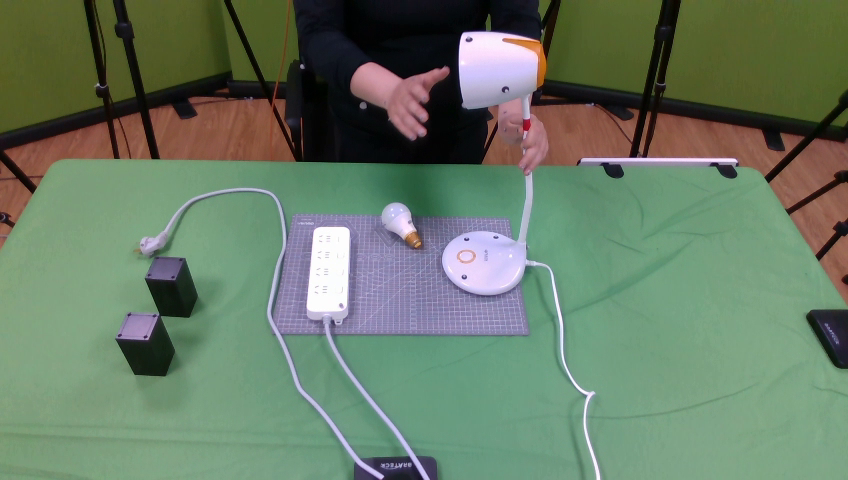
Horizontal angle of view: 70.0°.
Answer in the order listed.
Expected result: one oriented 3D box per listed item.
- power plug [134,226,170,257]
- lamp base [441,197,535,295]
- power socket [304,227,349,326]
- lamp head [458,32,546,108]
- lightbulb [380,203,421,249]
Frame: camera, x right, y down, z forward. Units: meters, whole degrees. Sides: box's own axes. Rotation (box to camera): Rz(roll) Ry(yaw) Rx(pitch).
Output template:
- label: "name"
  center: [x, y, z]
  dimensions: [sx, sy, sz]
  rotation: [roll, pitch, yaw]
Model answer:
- label: "power plug"
  center: [-0.515, 0.005, 1.152]
  dimensions: [0.052, 0.035, 0.072]
  rotation: [-5, 24, 7]
- label: "lamp base"
  center: [0.129, -0.012, 1.105]
  dimensions: [0.179, 0.181, 0.159]
  rotation: [-1, 46, -9]
- label: "power socket"
  center: [-0.177, 0.059, 1.115]
  dimensions: [0.072, 0.033, 0.225]
  rotation: [-1, 46, -4]
- label: "lamp head"
  center: [0.117, -0.251, 0.897]
  dimensions: [0.123, 0.113, 0.112]
  rotation: [3, 45, 11]
- label: "lightbulb"
  center: [-0.043, -0.026, 1.198]
  dimensions: [0.059, 0.060, 0.107]
  rotation: [-28, 70, -28]
